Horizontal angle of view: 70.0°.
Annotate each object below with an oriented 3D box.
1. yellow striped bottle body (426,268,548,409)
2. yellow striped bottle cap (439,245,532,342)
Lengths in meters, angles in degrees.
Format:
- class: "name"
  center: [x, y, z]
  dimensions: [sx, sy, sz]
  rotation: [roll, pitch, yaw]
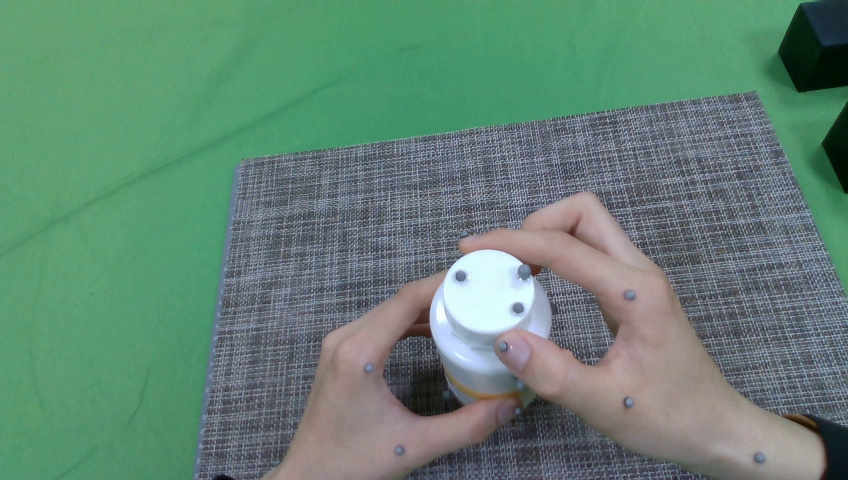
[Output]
- class: "yellow striped bottle body"
  center: [0.035, 0.051, 0.337]
  dimensions: [0.063, 0.121, 0.062]
  rotation: [-2, 63, 5]
- class: "yellow striped bottle cap"
  center: [0.029, 0.025, 0.287]
  dimensions: [0.044, 0.019, 0.044]
  rotation: [-2, 63, 5]
